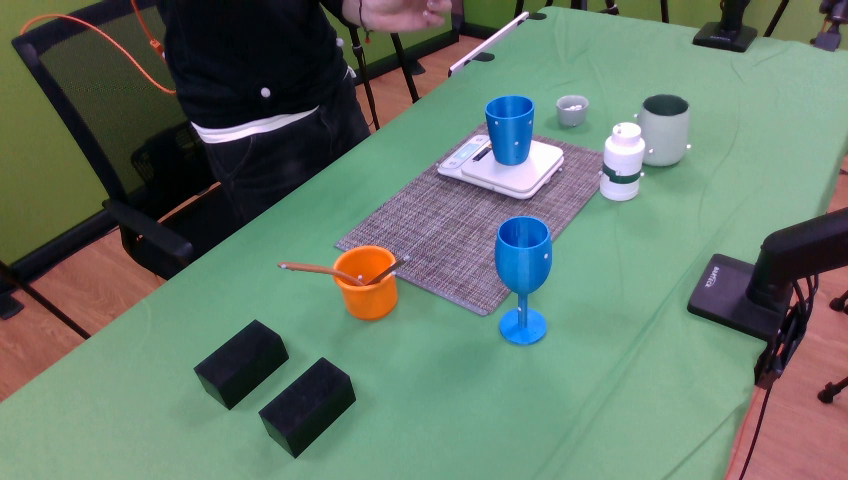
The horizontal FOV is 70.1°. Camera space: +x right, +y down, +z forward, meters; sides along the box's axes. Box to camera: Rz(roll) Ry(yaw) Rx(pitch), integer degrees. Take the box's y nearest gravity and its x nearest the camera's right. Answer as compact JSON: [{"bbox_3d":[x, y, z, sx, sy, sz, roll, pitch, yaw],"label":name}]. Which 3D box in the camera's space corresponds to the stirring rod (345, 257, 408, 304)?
[{"bbox_3d":[-0.067,0.057,0.815,0.014,0.175,0.006,-25,82,-38],"label":"stirring rod"}]

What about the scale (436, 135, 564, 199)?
[{"bbox_3d":[0.137,-0.142,1.101,0.199,0.032,0.149,22,48,30],"label":"scale"}]

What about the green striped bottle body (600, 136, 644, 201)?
[{"bbox_3d":[0.326,-0.128,0.997,0.063,0.120,0.063,-4,41,4],"label":"green striped bottle body"}]

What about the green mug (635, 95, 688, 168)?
[{"bbox_3d":[0.421,-0.201,1.081,0.092,0.105,0.125,5,42,15],"label":"green mug"}]

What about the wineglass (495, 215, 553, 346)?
[{"bbox_3d":[0.127,0.054,0.770,0.074,0.173,0.073,-4,40,4],"label":"wineglass"}]

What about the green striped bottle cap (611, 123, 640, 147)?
[{"bbox_3d":[0.322,-0.168,0.963,0.044,0.020,0.044,-3,42,3],"label":"green striped bottle cap"}]

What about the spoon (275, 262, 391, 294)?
[{"bbox_3d":[-0.120,0.050,0.830,0.041,0.195,0.021,31,97,45],"label":"spoon"}]

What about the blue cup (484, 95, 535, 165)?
[{"bbox_3d":[0.150,-0.188,1.053,0.092,0.100,0.092,-6,39,5],"label":"blue cup"}]

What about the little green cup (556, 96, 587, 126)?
[{"bbox_3d":[0.295,-0.258,1.214,0.061,0.039,0.061,-4,42,4],"label":"little green cup"}]
